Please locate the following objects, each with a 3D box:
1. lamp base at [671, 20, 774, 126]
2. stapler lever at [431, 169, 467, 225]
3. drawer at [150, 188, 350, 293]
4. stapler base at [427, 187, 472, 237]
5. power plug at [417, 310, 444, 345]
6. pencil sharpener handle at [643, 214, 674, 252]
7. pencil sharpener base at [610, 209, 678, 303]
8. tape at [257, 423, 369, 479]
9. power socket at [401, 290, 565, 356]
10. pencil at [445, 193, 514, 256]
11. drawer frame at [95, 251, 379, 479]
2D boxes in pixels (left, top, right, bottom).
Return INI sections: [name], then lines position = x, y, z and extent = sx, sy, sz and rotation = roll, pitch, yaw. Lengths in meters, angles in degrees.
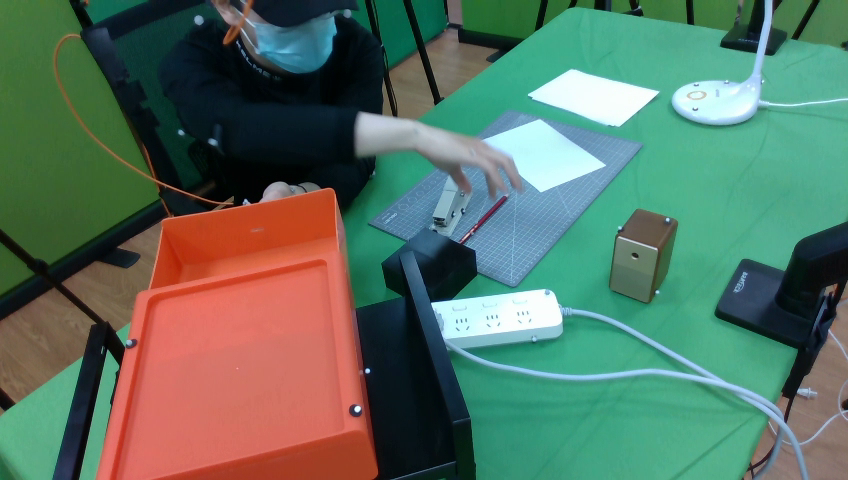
[lamp base]
position = 0.581, -0.332, 1.154
extent = 0.179, 0.181, 0.160
rotation = 2, 41, 7
[stapler lever]
position = 0.043, -0.074, 1.010
extent = 0.026, 0.040, 0.118
rotation = 9, 44, 21
[drawer]
position = -0.176, 0.049, 0.622
extent = 0.195, 0.073, 0.210
rotation = -11, 41, -4
[stapler base]
position = 0.045, -0.057, 1.028
extent = 0.041, 0.024, 0.130
rotation = 9, 44, 20
[power plug]
position = 0.006, 0.122, 0.785
extent = 0.035, 0.053, 0.072
rotation = 0, 40, 9
[pencil sharpener handle]
position = 0.338, -0.016, 0.857
extent = 0.035, 0.068, 0.031
rotation = 1, 35, 44
[pencil sharpener base]
position = 0.304, 0.021, 0.839
extent = 0.061, 0.107, 0.077
rotation = 21, 48, 30
[tape]
position = -0.121, 0.263, 0.660
extent = 0.117, 0.053, 0.116
rotation = -5, 39, 4
[power socket]
position = 0.081, 0.112, 0.822
extent = 0.227, 0.033, 0.072
rotation = -6, 41, 0
[pencil]
position = 0.095, -0.029, 0.999
extent = 0.012, 0.012, 0.194
rotation = 24, 48, 32
[drawer frame]
position = -0.154, 0.119, 0.531
extent = 0.202, 0.083, 0.212
rotation = -12, 41, -6
